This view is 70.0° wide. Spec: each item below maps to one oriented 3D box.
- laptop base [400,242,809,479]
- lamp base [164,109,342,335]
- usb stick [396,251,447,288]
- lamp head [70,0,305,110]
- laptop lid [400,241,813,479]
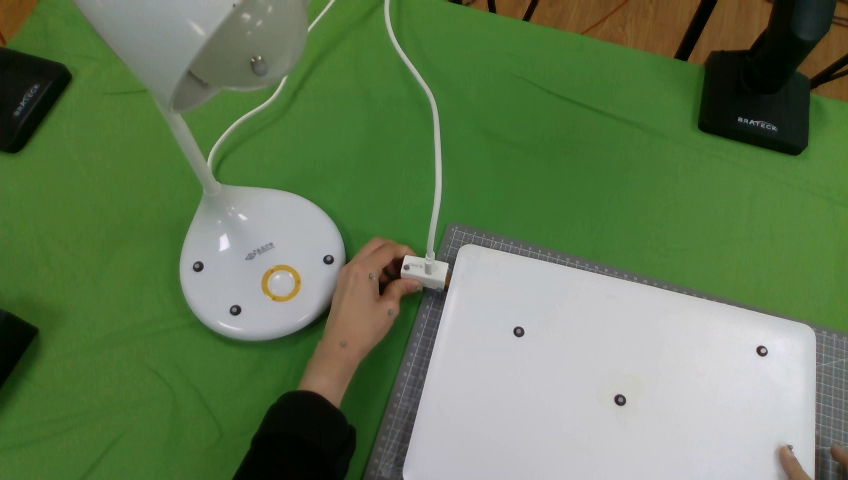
[{"bbox_3d":[0.174,0.145,0.563,0.354,0.023,0.234,13,69,4],"label":"laptop base"},{"bbox_3d":[-0.170,-0.023,0.536,0.178,0.181,0.160,42,70,19],"label":"lamp base"},{"bbox_3d":[0.003,0.030,0.593,0.059,0.027,0.021,13,59,0],"label":"usb stick"},{"bbox_3d":[-0.113,-0.134,0.256,0.123,0.112,0.112,42,69,-9],"label":"lamp head"},{"bbox_3d":[0.174,0.142,0.551,0.356,0.013,0.240,15,69,5],"label":"laptop lid"}]
